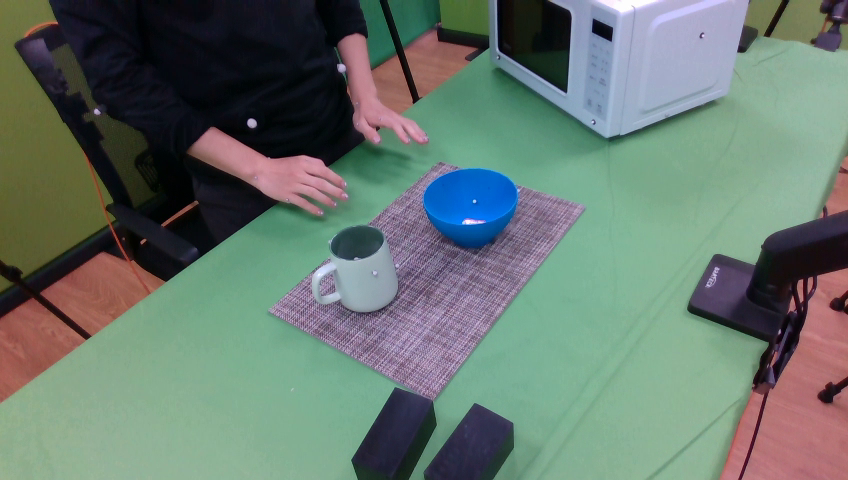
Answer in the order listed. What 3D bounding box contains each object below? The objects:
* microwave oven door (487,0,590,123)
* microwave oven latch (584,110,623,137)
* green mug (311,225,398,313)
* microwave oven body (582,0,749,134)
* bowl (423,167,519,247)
[{"bbox_3d":[0.232,-0.420,1.231,0.039,0.245,0.352,-22,43,-16],"label":"microwave oven door"},{"bbox_3d":[0.337,-0.222,1.142,0.030,0.029,0.078,-21,42,-15],"label":"microwave oven latch"},{"bbox_3d":[-0.101,0.050,0.857,0.126,0.105,0.091,-28,45,-23],"label":"green mug"},{"bbox_3d":[0.382,-0.444,1.246,0.327,0.261,0.437,-22,42,-16],"label":"microwave oven body"},{"bbox_3d":[0.075,-0.041,0.958,0.151,0.077,0.150,-4,40,4],"label":"bowl"}]
